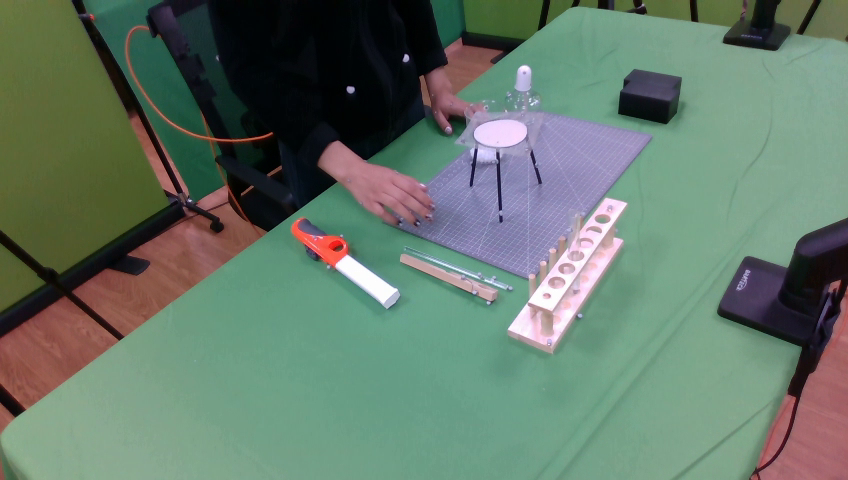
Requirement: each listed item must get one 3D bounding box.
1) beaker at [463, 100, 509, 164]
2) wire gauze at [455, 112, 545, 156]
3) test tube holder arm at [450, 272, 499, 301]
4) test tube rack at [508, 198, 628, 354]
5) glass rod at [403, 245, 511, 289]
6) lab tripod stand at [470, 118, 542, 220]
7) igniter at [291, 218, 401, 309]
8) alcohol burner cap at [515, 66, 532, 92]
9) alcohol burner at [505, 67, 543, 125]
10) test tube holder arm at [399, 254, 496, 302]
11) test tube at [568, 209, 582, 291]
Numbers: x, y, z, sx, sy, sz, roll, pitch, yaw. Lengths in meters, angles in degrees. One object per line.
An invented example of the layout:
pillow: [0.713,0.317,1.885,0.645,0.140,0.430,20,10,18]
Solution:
beaker: [0.120,-0.200,1.134,0.083,0.101,0.074,5,43,16]
wire gauze: [0.124,-0.176,0.972,0.124,0.011,0.121,9,42,20]
test tube holder arm: [0.071,0.068,0.895,0.087,0.015,0.010,21,16,32]
test tube rack: [0.206,0.039,0.850,0.066,0.085,0.243,20,48,31]
glass rod: [0.047,0.039,0.938,0.198,0.008,0.008,21,49,30]
lab tripod stand: [0.135,-0.128,1.019,0.148,0.132,0.147,-5,38,5]
igniter: [-0.135,0.031,0.970,0.057,0.025,0.274,-41,49,-20]
alcohol burner cap: [0.198,-0.320,1.192,0.034,0.048,0.033,0,47,1]
alcohol burner: [0.201,-0.293,1.216,0.078,0.119,0.077,-4,41,4]
test tube holder arm: [0.032,0.054,0.914,0.177,0.015,0.013,21,16,32]
test tube: [0.200,0.017,0.799,0.017,0.151,0.017,-8,45,8]
